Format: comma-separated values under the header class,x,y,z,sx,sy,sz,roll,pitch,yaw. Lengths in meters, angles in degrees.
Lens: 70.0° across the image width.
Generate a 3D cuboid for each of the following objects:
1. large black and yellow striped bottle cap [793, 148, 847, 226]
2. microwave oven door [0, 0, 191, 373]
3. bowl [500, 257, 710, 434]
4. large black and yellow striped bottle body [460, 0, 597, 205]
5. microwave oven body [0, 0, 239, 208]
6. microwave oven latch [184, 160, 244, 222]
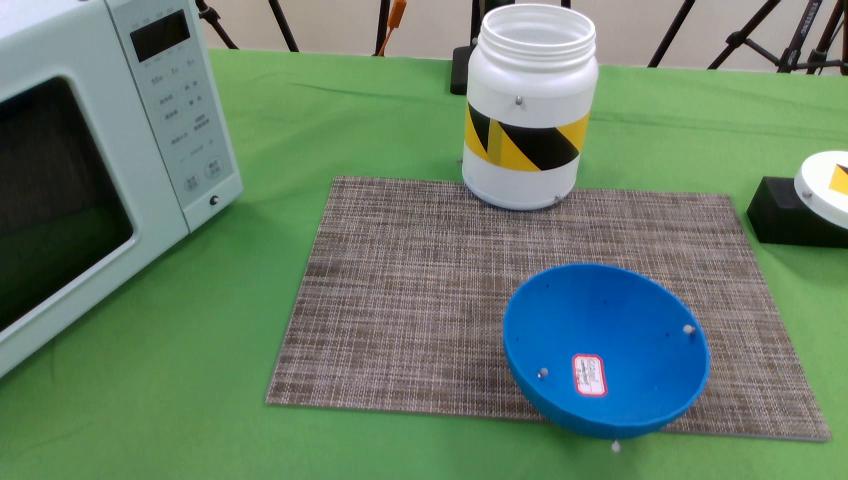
class,x,y,z,sx,sy,sz,roll,pitch,yaw
large black and yellow striped bottle cap,0.435,-0.053,0.607,0.115,0.019,0.114,0,44,1
microwave oven door,-0.340,0.002,0.424,0.039,0.246,0.354,24,49,22
bowl,0.132,0.093,0.476,0.151,0.077,0.150,0,45,0
large black and yellow striped bottle body,0.108,-0.144,0.642,0.131,0.185,0.129,1,41,0
microwave oven body,-0.442,-0.074,0.506,0.324,0.262,0.440,24,50,21
microwave oven latch,-0.223,-0.054,0.629,0.030,0.030,0.079,26,50,22
